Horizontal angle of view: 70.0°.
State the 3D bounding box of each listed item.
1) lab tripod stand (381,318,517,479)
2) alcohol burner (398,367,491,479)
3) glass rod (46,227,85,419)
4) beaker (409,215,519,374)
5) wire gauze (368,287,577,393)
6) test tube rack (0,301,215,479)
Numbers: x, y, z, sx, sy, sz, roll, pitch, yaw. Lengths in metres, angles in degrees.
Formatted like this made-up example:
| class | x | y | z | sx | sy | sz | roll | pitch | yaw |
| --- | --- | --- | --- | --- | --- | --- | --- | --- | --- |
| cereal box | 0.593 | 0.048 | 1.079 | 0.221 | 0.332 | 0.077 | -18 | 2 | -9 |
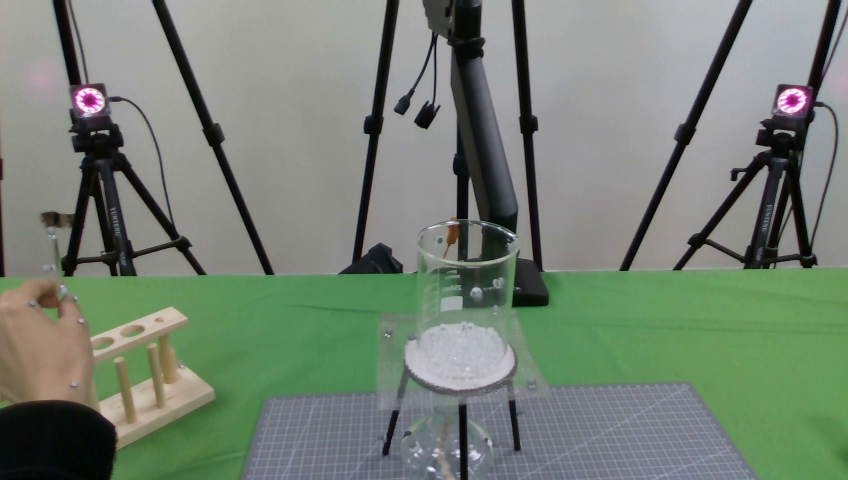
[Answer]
| class | x | y | z | sx | sy | sz | roll | pitch | yaw |
| --- | --- | --- | --- | --- | --- | --- | --- | --- | --- |
| lab tripod stand | 0.027 | 0.144 | 0.495 | 0.148 | 0.132 | 0.147 | 2 | 26 | -1 |
| alcohol burner | 0.018 | 0.153 | 0.499 | 0.078 | 0.120 | 0.077 | 2 | 25 | -1 |
| glass rod | -0.313 | 0.080 | 0.530 | 0.008 | 0.201 | 0.008 | 6 | 26 | -2 |
| beaker | 0.029 | 0.040 | 0.447 | 0.084 | 0.101 | 0.073 | -11 | 29 | -24 |
| wire gauze | 0.032 | 0.072 | 0.457 | 0.125 | 0.011 | 0.120 | -6 | 23 | -24 |
| test tube rack | -0.322 | 0.147 | 0.546 | 0.066 | 0.086 | 0.243 | 22 | 32 | 38 |
